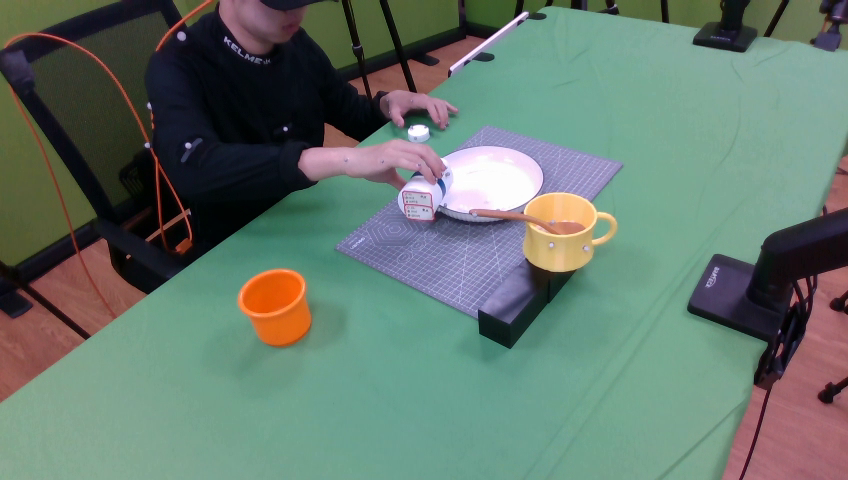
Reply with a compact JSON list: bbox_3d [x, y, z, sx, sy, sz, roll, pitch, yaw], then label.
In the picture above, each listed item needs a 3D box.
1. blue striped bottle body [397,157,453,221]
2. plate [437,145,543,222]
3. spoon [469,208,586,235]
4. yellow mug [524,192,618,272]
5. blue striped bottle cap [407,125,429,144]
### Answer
[{"bbox_3d":[0.007,-0.087,0.962,0.063,0.063,0.121,8,38,18],"label":"blue striped bottle body"},{"bbox_3d":[0.101,-0.094,1.048,0.207,0.039,0.206,-4,41,4],"label":"plate"},{"bbox_3d":[0.143,-0.026,0.817,0.195,0.021,0.041,12,35,-29],"label":"spoon"},{"bbox_3d":[0.206,-0.014,0.845,0.131,0.064,0.099,-4,41,2],"label":"yellow mug"},{"bbox_3d":[-0.012,-0.214,1.227,0.044,0.021,0.044,-5,37,4],"label":"blue striped bottle cap"}]
